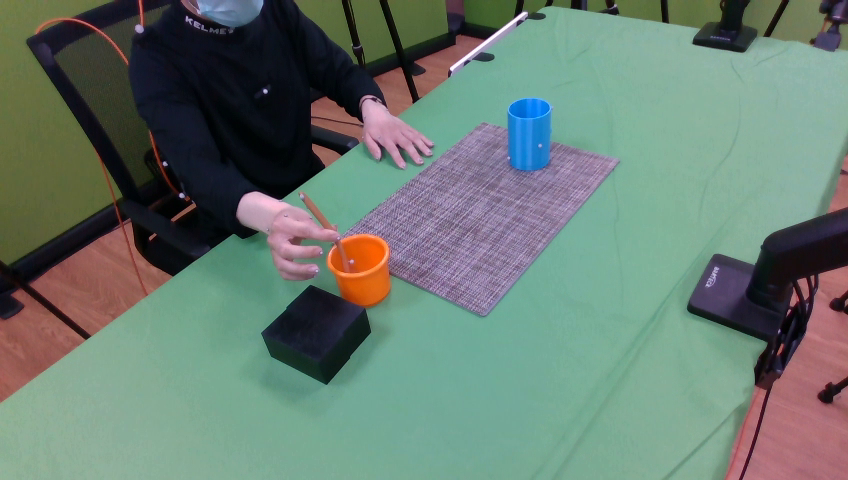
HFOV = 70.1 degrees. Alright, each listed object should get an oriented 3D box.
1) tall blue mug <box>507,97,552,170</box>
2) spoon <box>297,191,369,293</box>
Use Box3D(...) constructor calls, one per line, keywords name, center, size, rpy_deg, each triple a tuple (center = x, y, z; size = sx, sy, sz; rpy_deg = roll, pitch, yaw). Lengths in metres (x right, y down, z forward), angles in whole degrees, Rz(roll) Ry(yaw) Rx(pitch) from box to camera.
Box3D(name="tall blue mug", center=(0.179, -0.198, 1.101), size=(0.078, 0.108, 0.106), rpy_deg=(-37, 49, -28))
Box3D(name="spoon", center=(-0.124, 0.005, 0.843), size=(0.021, 0.195, 0.041), rpy_deg=(-17, 37, 9))
